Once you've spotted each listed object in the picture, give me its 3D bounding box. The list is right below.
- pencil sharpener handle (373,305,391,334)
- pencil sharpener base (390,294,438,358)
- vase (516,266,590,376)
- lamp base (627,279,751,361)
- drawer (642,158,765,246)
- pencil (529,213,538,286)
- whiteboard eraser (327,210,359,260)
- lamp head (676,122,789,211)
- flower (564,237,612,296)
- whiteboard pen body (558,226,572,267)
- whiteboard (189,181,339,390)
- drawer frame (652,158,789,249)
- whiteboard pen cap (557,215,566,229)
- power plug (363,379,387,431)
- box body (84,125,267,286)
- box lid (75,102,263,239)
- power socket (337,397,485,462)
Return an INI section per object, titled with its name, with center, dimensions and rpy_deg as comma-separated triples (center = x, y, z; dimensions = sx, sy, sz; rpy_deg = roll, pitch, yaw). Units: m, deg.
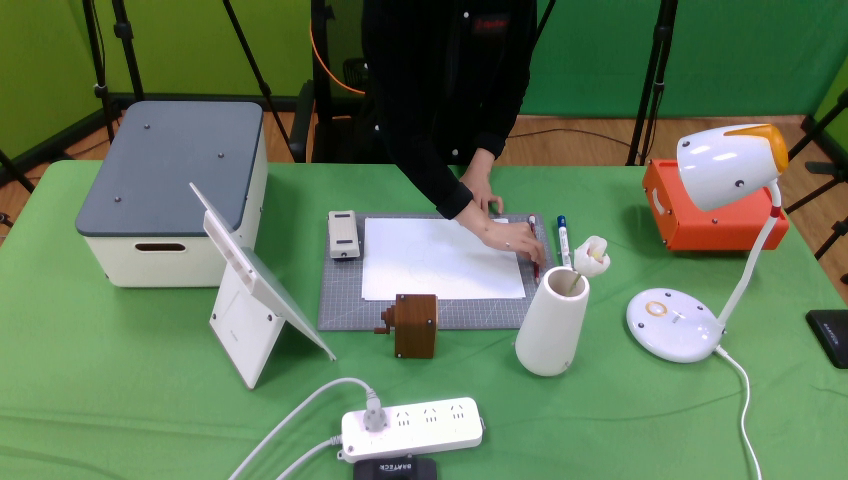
[pencil sharpener handle]
center = -0.069, 0.133, 0.989
dimensions = 0.030, 0.068, 0.036
rpy_deg = 1, 47, -2
[pencil sharpener base]
center = -0.018, 0.143, 1.000
dimensions = 0.077, 0.107, 0.061
rpy_deg = 1, 46, -2
[vase]
center = 0.208, 0.132, 0.965
dimensions = 0.098, 0.201, 0.097
rpy_deg = 3, 46, -3
[lamp base]
center = 0.459, 0.100, 1.027
dimensions = 0.178, 0.181, 0.160
rpy_deg = 27, 51, 17
[drawer]
center = 0.565, -0.076, 1.211
dimensions = 0.212, 0.073, 0.193
rpy_deg = 2, 45, -2
[pencil]
center = 0.219, 0.016, 1.204
dimensions = 0.012, 0.012, 0.193
rpy_deg = 5, 47, 1
[whiteboard eraser]
center = -0.159, -0.009, 1.177
dimensions = 0.055, 0.042, 0.112
rpy_deg = -6, 47, -7
[lamp head]
center = 0.423, -0.104, 0.819
dimensions = 0.122, 0.113, 0.112
rpy_deg = -13, 33, 40
[flower]
center = 0.206, 0.088, 0.893
dimensions = 0.038, 0.363, 0.044
rpy_deg = -17, 67, -9
[whiteboard pen body]
center = 0.280, 0.010, 1.208
dimensions = 0.017, 0.017, 0.140
rpy_deg = 3, 50, -1
[whiteboard]
center = -0.292, 0.096, 0.929
dimensions = 0.144, 0.307, 0.216
rpy_deg = -37, 57, -10
[drawer frame]
center = 0.571, -0.075, 1.214
dimensions = 0.214, 0.083, 0.200
rpy_deg = 0, 45, -1
[whiteboard pen cap]
center = 0.284, -0.035, 1.246
dimensions = 0.018, 0.018, 0.033
rpy_deg = 4, 52, -1
[power plug]
center = -0.072, 0.252, 0.910
dimensions = 0.035, 0.053, 0.072
rpy_deg = 3, 45, -1
[box body]
center = -0.446, -0.088, 1.150
dimensions = 0.254, 0.161, 0.361
rpy_deg = -1, 46, -5
[box lid]
center = -0.443, -0.138, 1.094
dimensions = 0.263, 0.015, 0.369
rpy_deg = -1, 47, -5
[power socket]
center = -0.018, 0.285, 0.915
dimensions = 0.227, 0.033, 0.071
rpy_deg = -5, 46, -8
